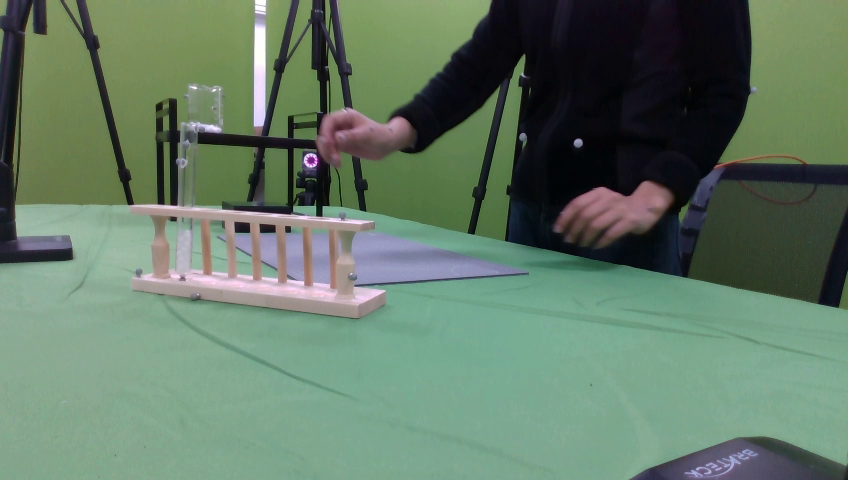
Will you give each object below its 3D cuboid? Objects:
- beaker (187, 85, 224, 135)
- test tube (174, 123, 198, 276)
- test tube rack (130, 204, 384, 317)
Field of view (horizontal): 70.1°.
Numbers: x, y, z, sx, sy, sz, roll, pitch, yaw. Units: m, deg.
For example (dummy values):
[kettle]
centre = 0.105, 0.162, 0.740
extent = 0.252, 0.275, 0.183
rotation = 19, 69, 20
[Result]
[beaker]
centre = -0.466, -0.276, 1.296
extent = 0.074, 0.100, 0.083
rotation = -3, 10, -35
[test tube]
centre = -0.232, -0.038, 0.588
extent = 0.017, 0.150, 0.017
rotation = 6, 9, -1
[test tube rack]
centre = -0.162, 0.013, 0.589
extent = 0.242, 0.085, 0.067
rotation = 5, 8, 17
